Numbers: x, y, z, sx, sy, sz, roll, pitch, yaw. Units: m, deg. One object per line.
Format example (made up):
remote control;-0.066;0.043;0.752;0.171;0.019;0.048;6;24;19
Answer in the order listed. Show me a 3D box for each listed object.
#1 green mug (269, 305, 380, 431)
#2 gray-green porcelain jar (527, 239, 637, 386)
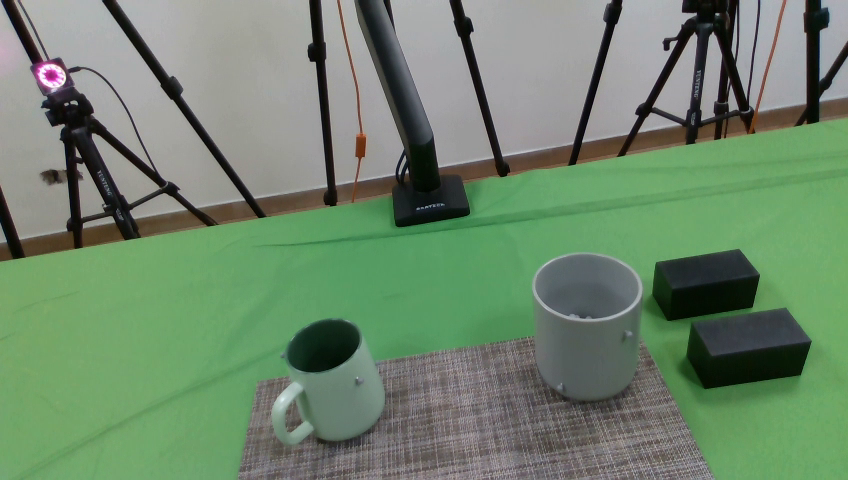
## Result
green mug;-0.107;0.142;0.626;0.092;0.106;0.125;18;45;32
gray-green porcelain jar;0.162;0.079;0.628;0.106;0.128;0.105;-6;37;5
